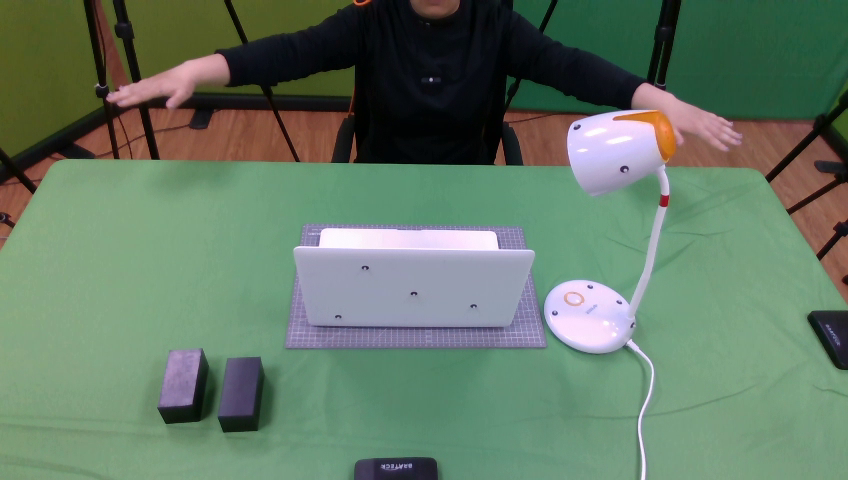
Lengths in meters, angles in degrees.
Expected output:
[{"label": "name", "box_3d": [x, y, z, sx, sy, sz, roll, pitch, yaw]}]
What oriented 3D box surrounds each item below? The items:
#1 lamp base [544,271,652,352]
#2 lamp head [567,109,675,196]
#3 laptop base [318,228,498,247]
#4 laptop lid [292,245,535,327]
[{"label": "lamp base", "box_3d": [0.310, 0.086, 1.029, 0.178, 0.181, 0.160, 32, 52, 21]}, {"label": "lamp head", "box_3d": [0.272, -0.123, 0.818, 0.122, 0.113, 0.112, -9, 35, 37]}, {"label": "laptop base", "box_3d": [-0.028, 0.066, 1.134, 0.355, 0.023, 0.234, 1, 43, -4]}, {"label": "laptop lid", "box_3d": [-0.018, 0.080, 0.956, 0.357, 0.243, 0.013, 2, 54, -5]}]
